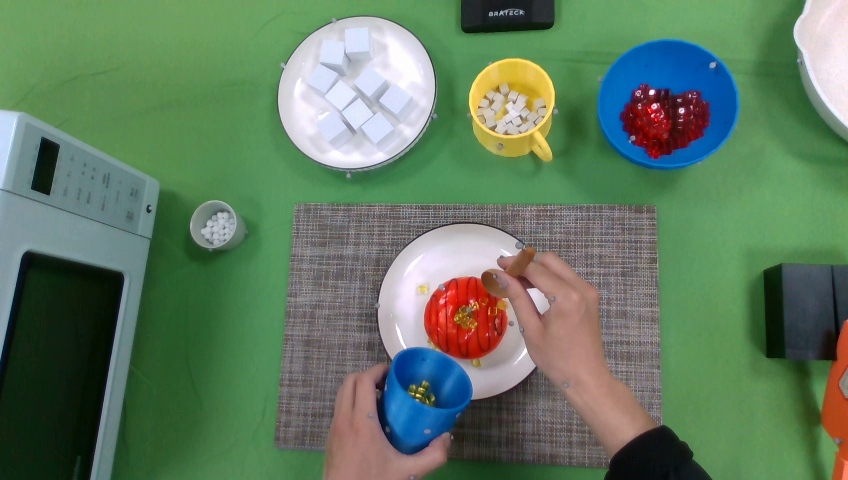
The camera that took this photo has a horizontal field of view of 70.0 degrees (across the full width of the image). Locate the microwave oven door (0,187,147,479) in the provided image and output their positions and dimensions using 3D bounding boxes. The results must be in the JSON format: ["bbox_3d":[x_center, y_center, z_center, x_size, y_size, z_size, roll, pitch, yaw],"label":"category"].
[{"bbox_3d":[-0.407,0.141,0.644,0.039,0.245,0.354,4,80,9],"label":"microwave oven door"}]

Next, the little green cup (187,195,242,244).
[{"bbox_3d":[-0.265,-0.023,0.775,0.061,0.039,0.061,-1,82,7],"label":"little green cup"}]

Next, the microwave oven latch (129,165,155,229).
[{"bbox_3d":[-0.368,-0.056,0.776,0.030,0.029,0.079,6,82,9],"label":"microwave oven latch"}]

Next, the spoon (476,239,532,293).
[{"bbox_3d":[0.078,0.028,0.583,0.041,0.194,0.021,37,81,5],"label":"spoon"}]

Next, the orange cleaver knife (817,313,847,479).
[{"bbox_3d":[0.424,0.180,0.622,0.012,0.077,0.212,1,109,9],"label":"orange cleaver knife"}]

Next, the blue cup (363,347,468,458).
[{"bbox_3d":[-0.016,0.170,0.605,0.092,0.092,0.100,45,132,13],"label":"blue cup"}]

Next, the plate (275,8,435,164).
[{"bbox_3d":[-0.086,-0.194,0.780,0.207,0.039,0.207,-1,80,8],"label":"plate"}]

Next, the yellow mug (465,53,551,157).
[{"bbox_3d":[0.111,-0.153,0.731,0.100,0.064,0.130,-36,78,1],"label":"yellow mug"}]

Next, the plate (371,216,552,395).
[{"bbox_3d":[0.043,0.076,0.712,0.209,0.038,0.208,-1,81,8],"label":"plate"}]

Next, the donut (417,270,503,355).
[{"bbox_3d":[0.041,0.083,0.699,0.099,0.048,0.099,-1,84,8],"label":"donut"}]

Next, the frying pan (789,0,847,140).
[{"bbox_3d":[0.544,-0.119,0.645,0.306,0.103,0.485,6,73,10],"label":"frying pan"}]

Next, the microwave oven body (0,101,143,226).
[{"bbox_3d":[-0.545,0.090,0.677,0.325,0.261,0.440,4,81,8],"label":"microwave oven body"}]

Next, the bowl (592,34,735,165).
[{"bbox_3d":[0.268,-0.151,0.703,0.151,0.077,0.151,-1,80,8],"label":"bowl"}]
